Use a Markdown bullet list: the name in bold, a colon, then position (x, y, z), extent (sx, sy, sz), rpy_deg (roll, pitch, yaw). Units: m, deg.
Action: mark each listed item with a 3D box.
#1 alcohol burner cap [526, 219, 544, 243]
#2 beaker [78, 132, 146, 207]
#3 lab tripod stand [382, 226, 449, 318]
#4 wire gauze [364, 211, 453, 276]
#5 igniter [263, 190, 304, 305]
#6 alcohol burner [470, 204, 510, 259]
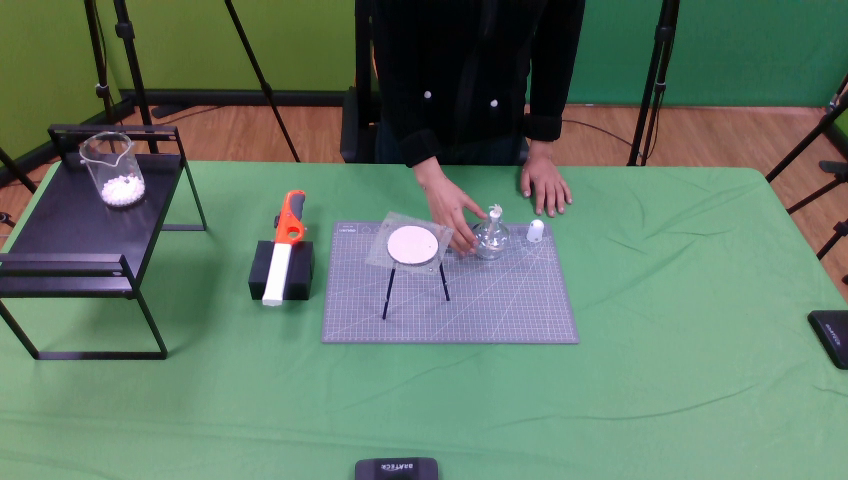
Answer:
- **alcohol burner cap**: position (0.225, -0.021, 1.219), extent (0.034, 0.048, 0.033), rpy_deg (1, 46, -1)
- **beaker**: position (-0.488, -0.108, 0.961), extent (0.074, 0.101, 0.083), rpy_deg (-25, 54, -25)
- **lab tripod stand**: position (-0.024, 0.055, 1.063), extent (0.148, 0.132, 0.147), rpy_deg (2, 48, -2)
- **wire gauze**: position (-0.024, 0.006, 1.016), extent (0.121, 0.011, 0.124), rpy_deg (14, 48, 9)
- **igniter**: position (-0.255, 0.004, 1.107), extent (0.057, 0.025, 0.274), rpy_deg (5, 47, -6)
- **alcohol burner**: position (0.129, -0.021, 1.161), extent (0.078, 0.119, 0.077), rpy_deg (3, 44, -2)
